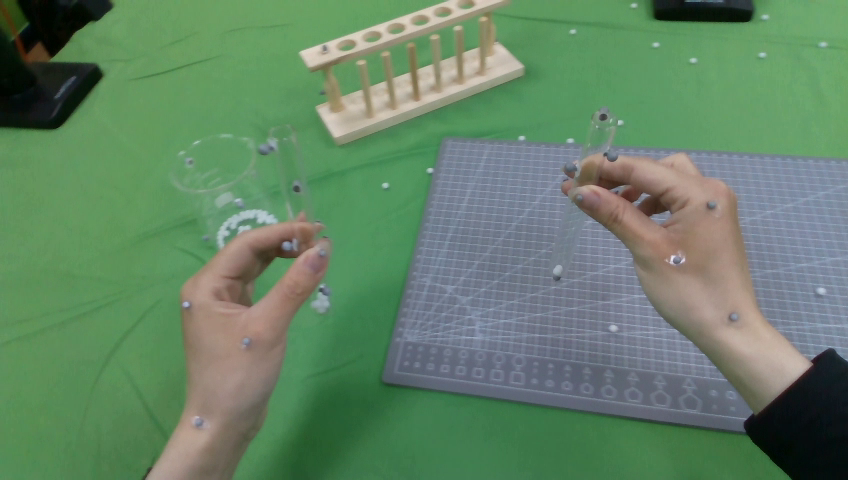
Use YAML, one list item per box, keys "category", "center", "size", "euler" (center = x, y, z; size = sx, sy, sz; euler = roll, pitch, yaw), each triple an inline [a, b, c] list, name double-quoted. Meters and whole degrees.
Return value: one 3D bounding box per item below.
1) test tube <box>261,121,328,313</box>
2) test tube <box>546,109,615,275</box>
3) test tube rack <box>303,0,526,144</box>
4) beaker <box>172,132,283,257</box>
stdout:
- category: "test tube"
  center: [-0.078, -0.006, 0.377]
  size: [0.017, 0.152, 0.017]
  euler: [-2, 43, 2]
- category: "test tube"
  center: [0.100, -0.023, 0.400]
  size: [0.017, 0.151, 0.017]
  euler: [1, 52, 0]
- category: "test tube rack"
  center: [-0.004, -0.202, 0.688]
  size: [0.242, 0.086, 0.066]
  euler: [-23, 52, -12]
- category: "beaker"
  center: [-0.176, -0.040, 0.566]
  size: [0.073, 0.101, 0.084]
  euler: [29, 59, 26]
